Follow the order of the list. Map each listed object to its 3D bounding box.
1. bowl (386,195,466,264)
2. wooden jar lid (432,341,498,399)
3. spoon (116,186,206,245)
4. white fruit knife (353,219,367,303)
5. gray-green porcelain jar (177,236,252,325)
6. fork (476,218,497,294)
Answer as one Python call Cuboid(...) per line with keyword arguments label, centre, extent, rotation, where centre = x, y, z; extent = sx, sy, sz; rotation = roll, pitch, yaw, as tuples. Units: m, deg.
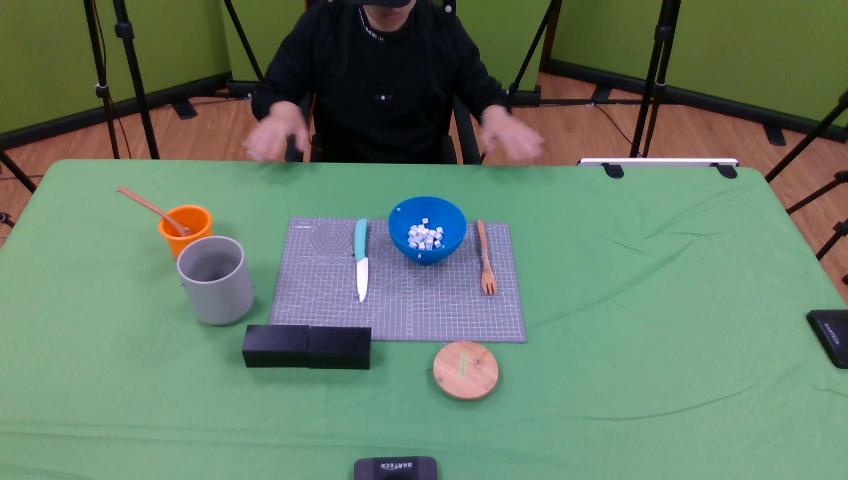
Cuboid(label="bowl", centre=(0.002, -0.007, 1.162), extent=(0.151, 0.077, 0.150), rotation=(2, 46, -2))
Cuboid(label="wooden jar lid", centre=(0.067, 0.216, 0.997), extent=(0.108, 0.021, 0.107), rotation=(1, 46, -1))
Cuboid(label="spoon", centre=(-0.474, -0.041, 1.112), extent=(0.021, 0.195, 0.041), rotation=(-31, 31, 29))
Cuboid(label="white fruit knife", centre=(-0.122, 0.036, 1.153), extent=(0.027, 0.016, 0.206), rotation=(-10, 47, 5))
Cuboid(label="gray-green porcelain jar", centre=(-0.350, 0.073, 1.027), extent=(0.106, 0.127, 0.105), rotation=(2, 46, -2))
Cuboid(label="fork", centre=(0.118, 0.027, 1.178), extent=(0.028, 0.019, 0.206), rotation=(-5, 48, 2))
